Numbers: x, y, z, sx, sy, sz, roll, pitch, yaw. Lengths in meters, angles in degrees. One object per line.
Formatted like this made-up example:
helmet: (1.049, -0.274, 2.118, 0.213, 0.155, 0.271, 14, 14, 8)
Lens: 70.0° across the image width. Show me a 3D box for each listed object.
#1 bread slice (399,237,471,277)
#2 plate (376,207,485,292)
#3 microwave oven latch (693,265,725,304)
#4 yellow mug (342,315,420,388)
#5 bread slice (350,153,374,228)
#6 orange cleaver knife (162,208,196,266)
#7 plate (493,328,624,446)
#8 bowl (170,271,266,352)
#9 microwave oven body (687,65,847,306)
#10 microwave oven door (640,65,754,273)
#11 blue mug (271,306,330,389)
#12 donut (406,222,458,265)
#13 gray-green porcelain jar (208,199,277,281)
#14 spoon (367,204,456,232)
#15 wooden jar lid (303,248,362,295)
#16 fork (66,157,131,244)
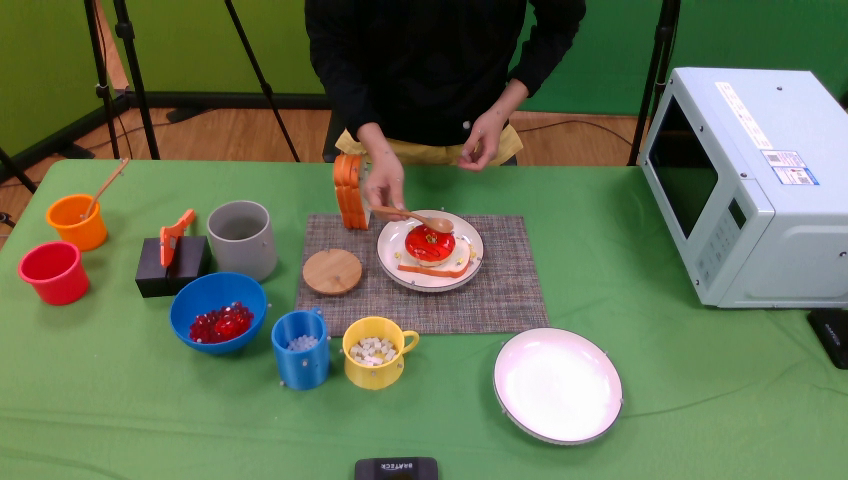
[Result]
bread slice: (0.026, 0.024, 1.160, 0.131, 0.019, 0.104, 7, 47, 7)
plate: (0.012, 0.020, 1.158, 0.209, 0.038, 0.208, 2, 47, -2)
microwave oven latch: (0.522, 0.081, 1.115, 0.030, 0.029, 0.078, 2, 46, -1)
yellow mug: (-0.067, 0.177, 0.990, 0.131, 0.064, 0.099, -15, 50, -19)
bread slice: (-0.123, -0.104, 1.207, 0.018, 0.135, 0.106, -2, 48, 7)
orange cleaver knife: (-0.454, -0.010, 1.129, 0.012, 0.077, 0.210, -2, 17, -6)
plate: (0.213, 0.236, 0.974, 0.208, 0.039, 0.206, 2, 46, -2)
bowl: (-0.333, 0.132, 1.006, 0.151, 0.077, 0.150, 2, 46, -2)
microwave oven body: (0.669, -0.111, 1.176, 0.326, 0.261, 0.439, 0, 46, -3)
microwave oven door: (0.523, -0.147, 1.193, 0.039, 0.245, 0.353, 0, 47, -3)
blue mug: (-0.188, 0.163, 0.969, 0.082, 0.106, 0.116, 15, 47, 10)
donut: (0.014, 0.004, 1.136, 0.099, 0.048, 0.098, 1, 47, -1)
gray-green porcelain jar: (-0.323, 0.007, 1.092, 0.106, 0.127, 0.105, 2, 46, -2)
spoon: (-0.019, -0.043, 1.075, 0.195, 0.021, 0.041, 15, 35, -39)
wooden jar lid: (-0.169, 0.060, 1.122, 0.108, 0.021, 0.107, 2, 46, -2)
fork: (-0.608, -0.074, 1.132, 0.207, 0.019, 0.028, -52, 48, 10)
